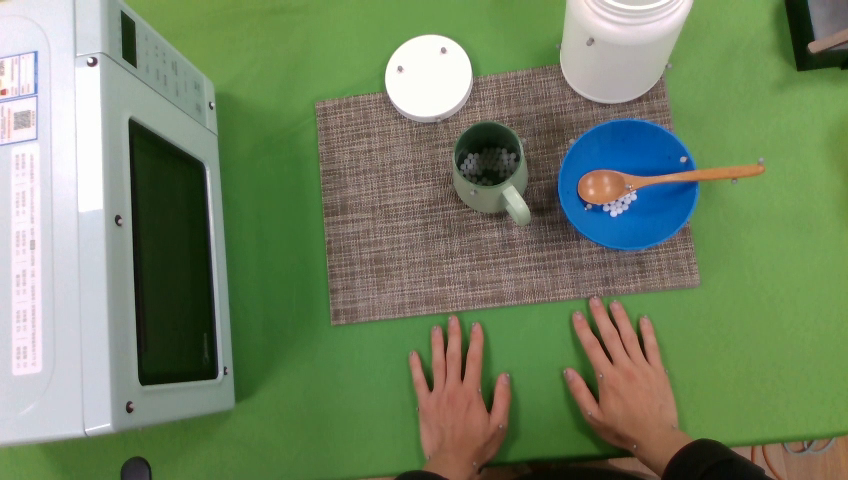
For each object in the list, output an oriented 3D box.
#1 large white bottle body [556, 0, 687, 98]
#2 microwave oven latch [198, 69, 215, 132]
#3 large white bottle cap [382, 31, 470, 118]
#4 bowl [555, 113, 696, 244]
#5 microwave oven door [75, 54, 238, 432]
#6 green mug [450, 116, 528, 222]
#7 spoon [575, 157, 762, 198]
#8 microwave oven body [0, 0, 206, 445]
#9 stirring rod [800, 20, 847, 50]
[{"bbox_3d":[0.219,-0.258,0.683,0.130,0.185,0.130,-2,77,8],"label":"large white bottle body"},{"bbox_3d":[-0.296,-0.183,0.801,0.030,0.029,0.079,-9,81,6],"label":"microwave oven latch"},{"bbox_3d":[0.003,-0.217,0.791,0.114,0.018,0.114,-1,80,7],"label":"large white bottle cap"},{"bbox_3d":[0.226,-0.063,0.706,0.151,0.077,0.151,-1,81,8],"label":"bowl"},{"bbox_3d":[-0.286,0.014,0.665,0.039,0.245,0.354,-9,80,7],"label":"microwave oven door"},{"bbox_3d":[0.083,-0.077,0.714,0.092,0.105,0.124,-34,78,1],"label":"green mug"},{"bbox_3d":[0.265,-0.073,0.673,0.193,0.022,0.041,-4,83,31],"label":"spoon"},{"bbox_3d":[-0.434,-0.005,0.693,0.326,0.261,0.440,-8,81,6],"label":"microwave oven body"},{"bbox_3d":[0.516,-0.257,0.689,0.176,0.006,0.014,-21,86,6],"label":"stirring rod"}]
